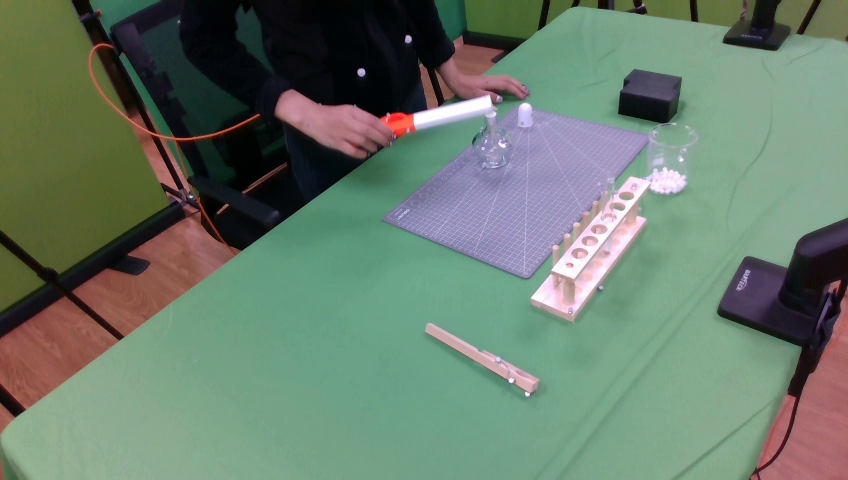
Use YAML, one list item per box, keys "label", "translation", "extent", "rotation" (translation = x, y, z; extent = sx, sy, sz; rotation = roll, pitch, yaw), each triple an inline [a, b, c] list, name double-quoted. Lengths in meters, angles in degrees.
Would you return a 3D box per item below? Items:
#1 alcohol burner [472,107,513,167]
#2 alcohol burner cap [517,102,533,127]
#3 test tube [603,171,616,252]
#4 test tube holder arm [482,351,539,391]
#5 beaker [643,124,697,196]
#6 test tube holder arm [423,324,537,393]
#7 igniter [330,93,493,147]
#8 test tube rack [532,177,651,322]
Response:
- label: "alcohol burner"
  translation: [0.125, -0.195, 1.111]
  extent: [0.078, 0.119, 0.077]
  rotation: [-5, 42, 5]
- label: "alcohol burner cap"
  translation: [0.205, -0.255, 1.223]
  extent: [0.034, 0.048, 0.033]
  rotation: [-6, 40, 5]
- label: "test tube"
  translation: [0.259, -0.036, 0.848]
  extent: [0.017, 0.151, 0.017]
  rotation: [-8, 46, 9]
- label: "test tube holder arm"
  translation: [0.107, 0.166, 0.769]
  extent: [0.087, 0.015, 0.010]
  rotation: [24, 16, 34]
- label: "beaker"
  translation: [0.407, -0.132, 1.001]
  extent: [0.084, 0.101, 0.073]
  rotation: [-20, 42, -13]
- label: "test tube holder arm"
  translation: [0.069, 0.151, 0.789]
  extent: [0.177, 0.015, 0.013]
  rotation: [23, 16, 33]
- label: "igniter"
  translation: [-0.025, -0.193, 0.985]
  extent: [0.276, 0.025, 0.057]
  rotation: [-11, 48, 12]
- label: "test tube rack"
  translation: [0.247, 0.002, 0.883]
  extent: [0.066, 0.085, 0.243]
  rotation: [23, 49, 32]
